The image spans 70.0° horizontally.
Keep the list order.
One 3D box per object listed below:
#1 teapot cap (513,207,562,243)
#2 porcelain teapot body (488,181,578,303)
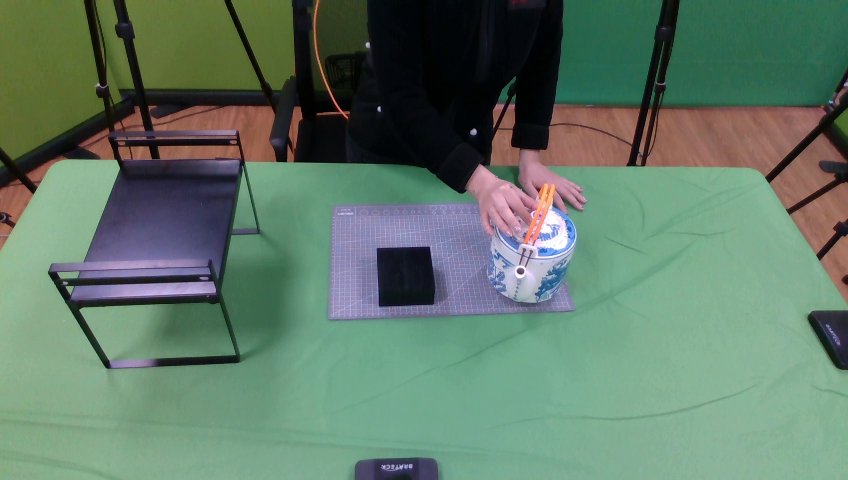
[{"bbox_3d":[0.196,-0.029,1.038,0.085,0.044,0.084,4,50,-4],"label":"teapot cap"},{"bbox_3d":[0.186,0.018,1.048,0.145,0.226,0.204,15,48,10],"label":"porcelain teapot body"}]
